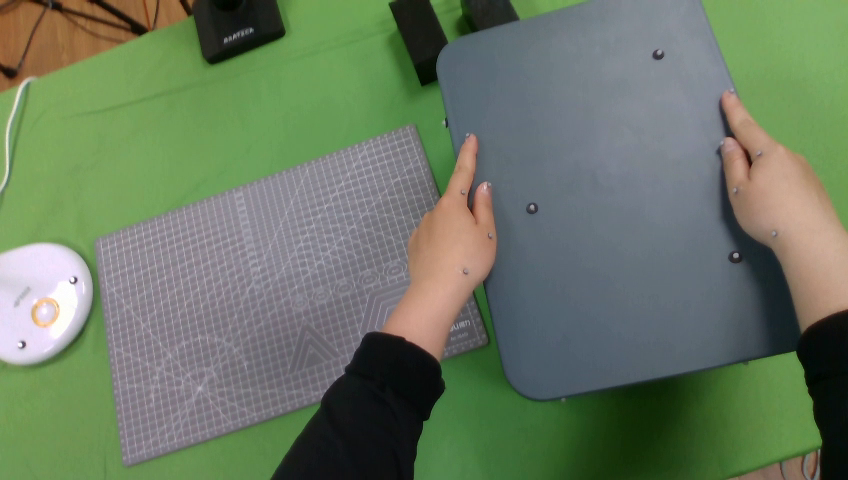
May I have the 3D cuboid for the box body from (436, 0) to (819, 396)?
[{"bbox_3d":[0.177,-0.038,0.618,0.254,0.161,0.361,-14,71,6],"label":"box body"}]

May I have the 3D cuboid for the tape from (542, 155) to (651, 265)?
[{"bbox_3d":[0.188,-0.033,0.667,0.116,0.053,0.116,-3,73,9],"label":"tape"}]

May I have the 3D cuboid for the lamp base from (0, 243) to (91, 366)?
[{"bbox_3d":[-0.527,0.054,0.709,0.178,0.181,0.160,18,77,18],"label":"lamp base"}]

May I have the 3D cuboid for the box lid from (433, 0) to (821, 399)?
[{"bbox_3d":[0.163,-0.063,0.550,0.263,0.015,0.369,-14,72,6],"label":"box lid"}]
